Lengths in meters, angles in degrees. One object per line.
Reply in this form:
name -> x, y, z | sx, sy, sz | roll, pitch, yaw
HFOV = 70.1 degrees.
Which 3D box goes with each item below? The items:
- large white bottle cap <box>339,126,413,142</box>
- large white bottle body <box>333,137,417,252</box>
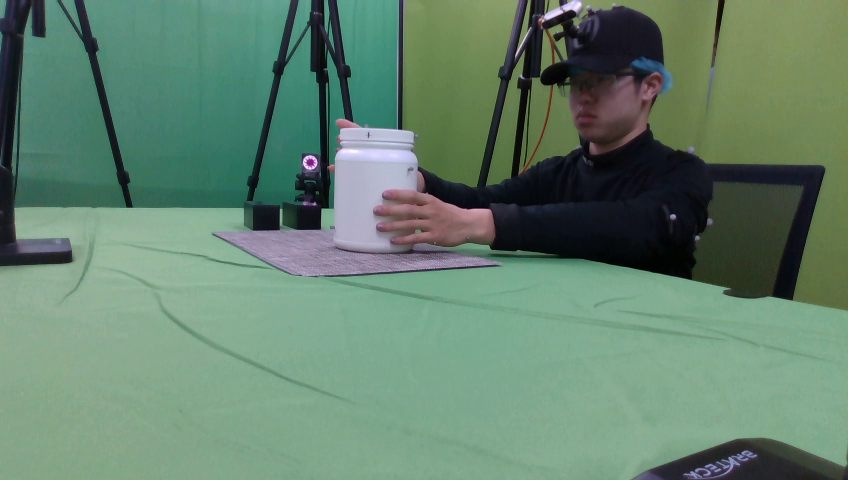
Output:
large white bottle cap -> -0.074, -0.164, 0.940 | 0.115, 0.018, 0.115 | 2, 7, 0
large white bottle body -> -0.076, -0.080, 0.950 | 0.131, 0.184, 0.130 | 2, 8, 0
